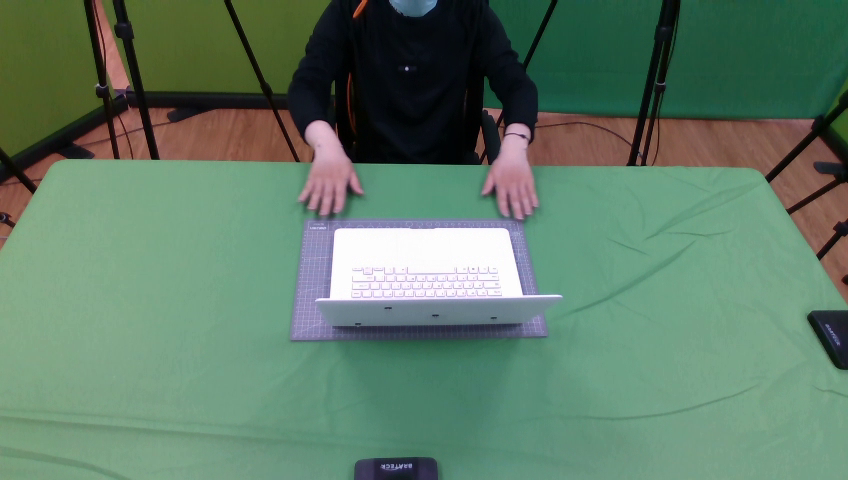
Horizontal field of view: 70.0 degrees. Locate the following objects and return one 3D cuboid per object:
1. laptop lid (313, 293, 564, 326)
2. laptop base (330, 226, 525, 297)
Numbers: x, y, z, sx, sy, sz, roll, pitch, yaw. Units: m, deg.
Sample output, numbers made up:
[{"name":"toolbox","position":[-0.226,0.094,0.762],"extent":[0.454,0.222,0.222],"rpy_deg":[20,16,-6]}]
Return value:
[{"name":"laptop lid","position":[0.017,0.112,0.945],"extent":[0.357,0.242,0.013],"rpy_deg":[0,74,-5]},{"name":"laptop base","position":[0.005,0.061,1.137],"extent":[0.355,0.023,0.234],"rpy_deg":[0,43,-4]}]
